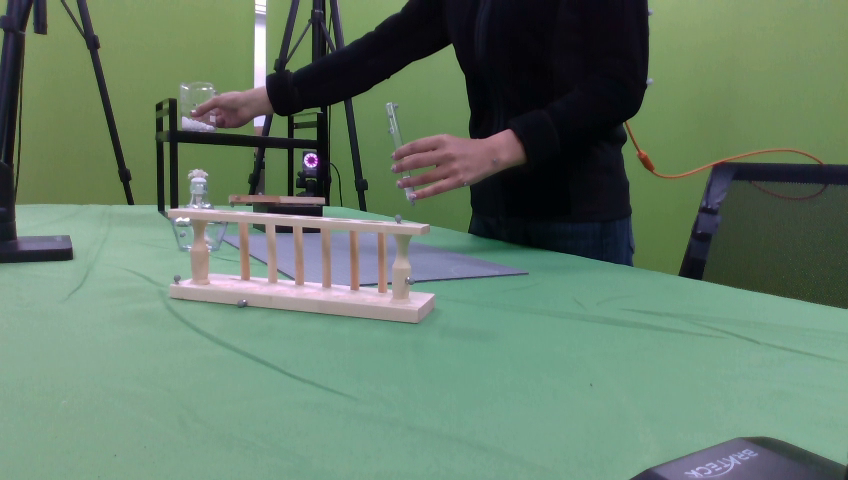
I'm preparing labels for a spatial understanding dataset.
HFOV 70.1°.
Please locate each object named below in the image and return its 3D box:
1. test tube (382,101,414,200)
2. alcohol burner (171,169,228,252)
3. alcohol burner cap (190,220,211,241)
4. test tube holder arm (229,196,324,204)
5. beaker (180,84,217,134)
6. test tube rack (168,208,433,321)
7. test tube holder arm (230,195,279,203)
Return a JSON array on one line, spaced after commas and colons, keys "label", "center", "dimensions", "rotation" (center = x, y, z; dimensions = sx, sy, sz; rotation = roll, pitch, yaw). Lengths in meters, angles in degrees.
[{"label": "test tube", "center": [-0.038, -0.133, 0.904], "dimensions": [0.017, 0.150, 0.017], "rotation": [-13, 2, 1]}, {"label": "alcohol burner", "center": [-0.325, -0.043, 0.875], "dimensions": [0.078, 0.119, 0.078], "rotation": [0, 7, 0]}, {"label": "alcohol burner cap", "center": [-0.365, -0.023, 0.988], "dimensions": [0.034, 0.048, 0.034], "rotation": [1, 7, 0]}, {"label": "test tube holder arm", "center": [-0.274, -0.077, 1.141], "dimensions": [0.179, 0.015, 0.013], "rotation": [-2, -4, -30]}, {"label": "beaker", "center": [-0.481, -0.278, 1.290], "dimensions": [0.074, 0.100, 0.084], "rotation": [-1, 5, 0]}, {"label": "test tube rack", "center": [-0.116, 0.018, 0.574], "dimensions": [0.242, 0.085, 0.067], "rotation": [4, 8, 14]}, {"label": "test tube holder arm", "center": [-0.311, -0.076, 1.113], "dimensions": [0.088, 0.015, 0.010], "rotation": [-2, -4, -30]}]
